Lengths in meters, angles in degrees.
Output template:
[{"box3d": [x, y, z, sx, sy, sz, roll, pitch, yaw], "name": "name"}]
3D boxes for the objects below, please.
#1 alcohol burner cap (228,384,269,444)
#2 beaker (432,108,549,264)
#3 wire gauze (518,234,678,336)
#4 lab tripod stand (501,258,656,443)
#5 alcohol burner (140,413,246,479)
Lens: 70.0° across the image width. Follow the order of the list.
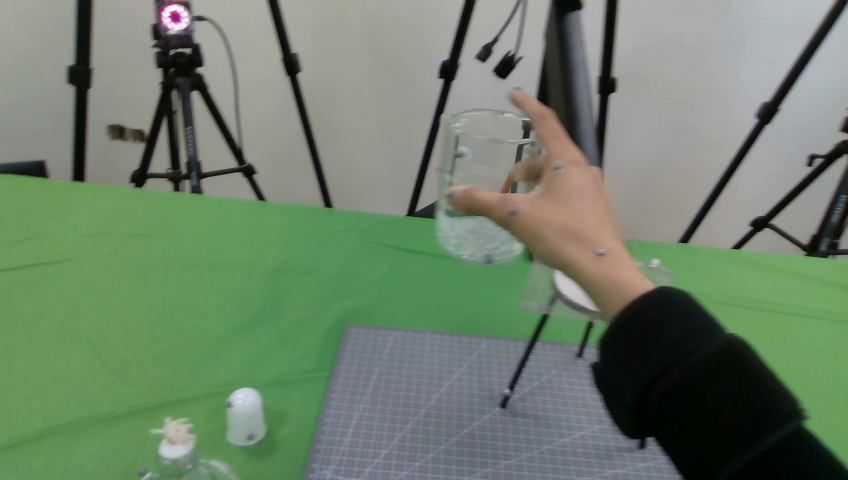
[{"box3d": [-0.149, 0.144, 0.510, 0.034, 0.048, 0.033, 4, 29, -2], "name": "alcohol burner cap"}, {"box3d": [0.043, -0.041, 0.450, 0.074, 0.101, 0.083, -20, 37, -40], "name": "beaker"}, {"box3d": [0.150, 0.036, 0.516, 0.121, 0.011, 0.124, 13, 30, 12], "name": "wire gauze"}, {"box3d": [0.151, 0.095, 0.548, 0.148, 0.132, 0.147, 6, 29, -3], "name": "lab tripod stand"}, {"box3d": [-0.158, 0.163, 0.401, 0.078, 0.120, 0.077, 3, 29, -1], "name": "alcohol burner"}]
